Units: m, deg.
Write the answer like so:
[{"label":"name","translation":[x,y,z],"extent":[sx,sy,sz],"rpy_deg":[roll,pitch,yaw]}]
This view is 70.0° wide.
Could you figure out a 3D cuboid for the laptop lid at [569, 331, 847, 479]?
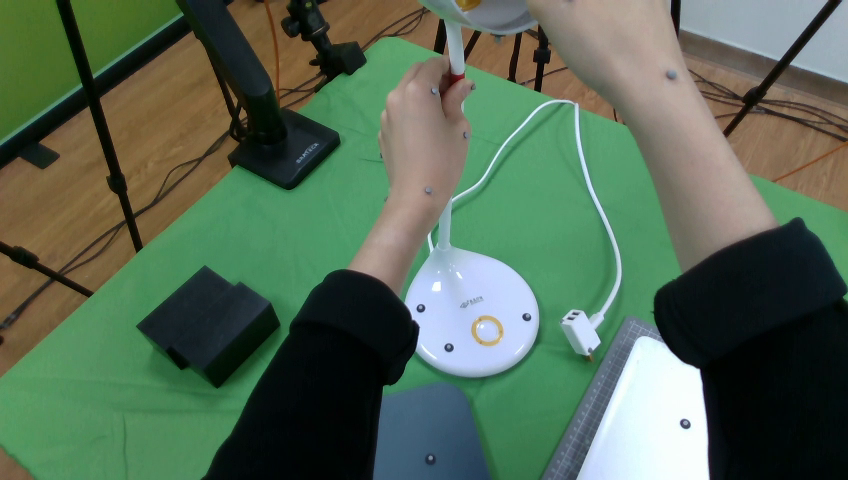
[{"label":"laptop lid","translation":[0.329,0.251,0.572],"extent":[0.354,0.013,0.241],"rpy_deg":[26,61,19]}]

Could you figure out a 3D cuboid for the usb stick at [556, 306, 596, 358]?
[{"label":"usb stick","translation":[0.173,0.104,0.678],"extent":[0.027,0.059,0.021],"rpy_deg":[-36,18,-27]}]

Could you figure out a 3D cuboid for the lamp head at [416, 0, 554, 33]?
[{"label":"lamp head","translation":[0.024,-0.199,0.409],"extent":[0.112,0.113,0.121],"rpy_deg":[-31,30,-19]}]

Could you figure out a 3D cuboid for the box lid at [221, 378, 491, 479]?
[{"label":"box lid","translation":[-0.044,0.317,0.554],"extent":[0.263,0.015,0.367],"rpy_deg":[-13,56,-7]}]

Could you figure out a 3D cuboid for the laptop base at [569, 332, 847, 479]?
[{"label":"laptop base","translation":[0.331,0.257,0.583],"extent":[0.352,0.023,0.234],"rpy_deg":[24,62,18]}]

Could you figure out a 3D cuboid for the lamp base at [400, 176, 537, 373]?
[{"label":"lamp base","translation":[0.042,0.028,0.655],"extent":[0.160,0.182,0.177],"rpy_deg":[-30,56,-19]}]
